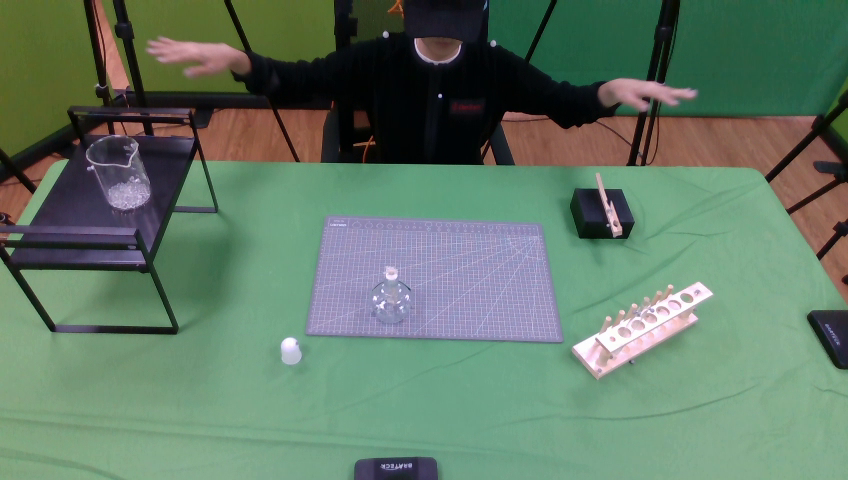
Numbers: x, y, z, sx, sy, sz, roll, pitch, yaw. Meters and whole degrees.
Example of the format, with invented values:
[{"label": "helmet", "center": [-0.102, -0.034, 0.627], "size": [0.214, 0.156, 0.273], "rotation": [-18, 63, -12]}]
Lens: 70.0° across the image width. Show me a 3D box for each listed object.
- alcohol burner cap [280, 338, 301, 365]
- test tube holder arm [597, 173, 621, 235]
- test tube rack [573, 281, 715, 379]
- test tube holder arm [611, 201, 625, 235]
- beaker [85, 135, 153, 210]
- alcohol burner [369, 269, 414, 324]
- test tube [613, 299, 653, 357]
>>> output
[{"label": "alcohol burner cap", "center": [-0.220, 0.179, 0.993], "size": [0.034, 0.048, 0.033], "rotation": [2, 46, -2]}, {"label": "test tube holder arm", "center": [0.373, -0.076, 1.228], "size": [0.013, 0.015, 0.177], "rotation": [-6, 45, 3]}, {"label": "test tube rack", "center": [0.378, 0.140, 1.038], "size": [0.242, 0.085, 0.066], "rotation": [-22, 51, -23]}, {"label": "test tube holder arm", "center": [0.380, -0.045, 1.196], "size": [0.010, 0.015, 0.087], "rotation": [-6, 45, 3]}, {"label": "beaker", "center": [-0.475, -0.102, 0.957], "size": [0.083, 0.101, 0.074], "rotation": [34, 53, 26]}, {"label": "alcohol burner", "center": [-0.056, 0.089, 1.037], "size": [0.078, 0.120, 0.077], "rotation": [1, 47, -1]}, {"label": "test tube", "center": [0.329, 0.143, 0.963], "size": [0.017, 0.151, 0.017], "rotation": [4, 48, -4]}]
